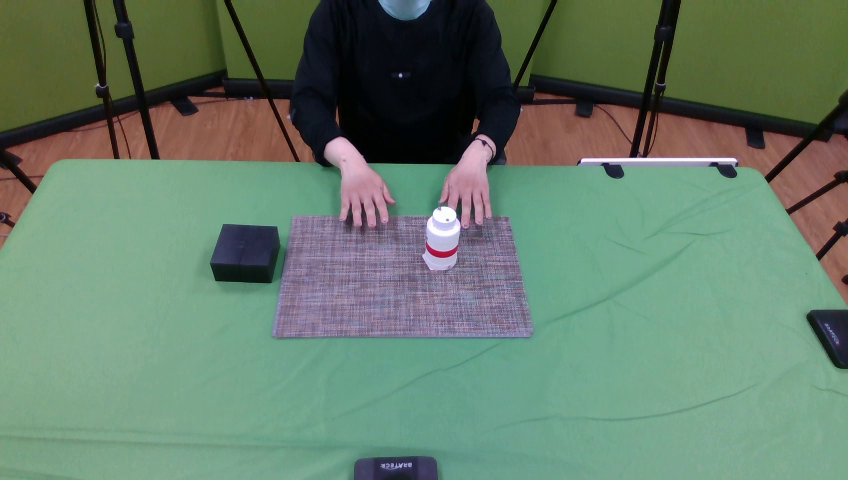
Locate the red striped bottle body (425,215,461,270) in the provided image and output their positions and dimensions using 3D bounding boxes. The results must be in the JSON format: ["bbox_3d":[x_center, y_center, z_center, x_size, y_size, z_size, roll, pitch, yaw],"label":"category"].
[{"bbox_3d":[0.035,-0.004,1.128,0.063,0.120,0.062,1,46,-1],"label":"red striped bottle body"}]

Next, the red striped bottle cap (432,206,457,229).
[{"bbox_3d":[0.037,-0.041,1.090,0.044,0.018,0.044,-1,47,1],"label":"red striped bottle cap"}]
